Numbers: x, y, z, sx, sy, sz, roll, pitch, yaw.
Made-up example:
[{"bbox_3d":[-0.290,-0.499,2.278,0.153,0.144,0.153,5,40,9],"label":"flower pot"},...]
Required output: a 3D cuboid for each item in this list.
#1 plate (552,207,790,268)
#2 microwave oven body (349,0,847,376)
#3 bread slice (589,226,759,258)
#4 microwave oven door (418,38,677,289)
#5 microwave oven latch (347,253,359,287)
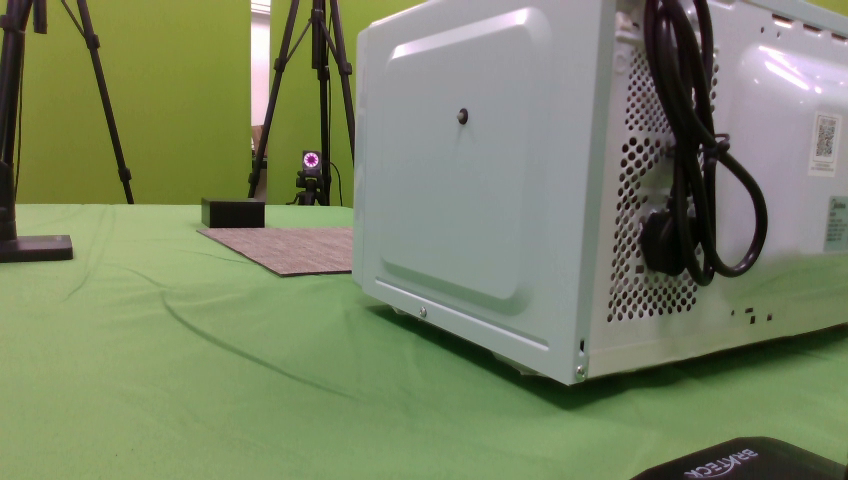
[{"bbox_3d":[0.225,-0.005,0.572,0.209,0.038,0.209,4,7,0],"label":"plate"},{"bbox_3d":[0.199,-0.053,0.540,0.444,0.260,0.324,-1,8,-32],"label":"microwave oven body"},{"bbox_3d":[0.226,0.000,0.568,0.132,0.019,0.104,3,6,-23],"label":"bread slice"},{"bbox_3d":[0.158,-0.078,0.684,0.358,0.243,0.039,-2,9,-32],"label":"microwave oven door"},{"bbox_3d":[-0.034,0.028,0.580,0.079,0.029,0.030,-1,7,-31],"label":"microwave oven latch"}]
